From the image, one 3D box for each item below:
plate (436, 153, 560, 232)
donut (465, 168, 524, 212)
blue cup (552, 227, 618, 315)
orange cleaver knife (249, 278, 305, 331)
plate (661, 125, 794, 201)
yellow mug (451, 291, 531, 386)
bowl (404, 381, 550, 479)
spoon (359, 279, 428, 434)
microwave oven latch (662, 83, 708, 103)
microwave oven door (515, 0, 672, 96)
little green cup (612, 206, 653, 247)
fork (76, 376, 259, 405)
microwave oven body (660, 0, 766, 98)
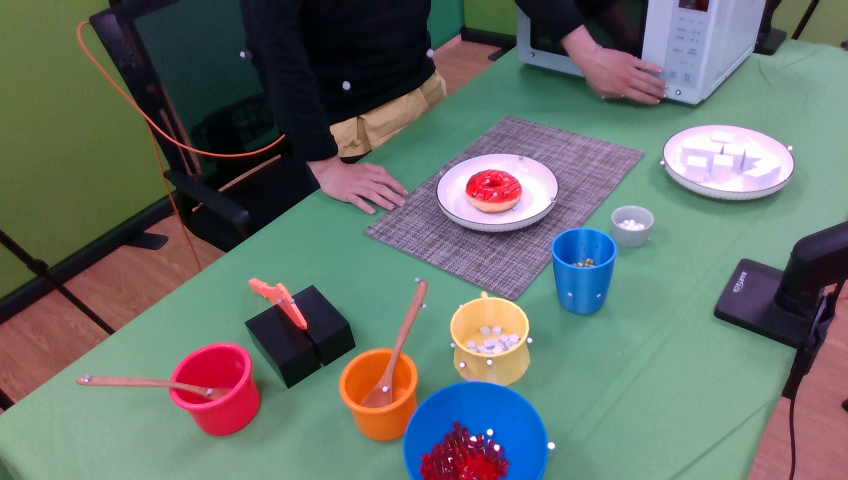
[{"bbox_3d":[0.125,-0.078,1.029,0.209,0.038,0.208,-4,40,4],"label":"plate"},{"bbox_3d":[0.119,-0.084,1.021,0.099,0.048,0.098,-3,39,3],"label":"donut"},{"bbox_3d":[0.218,0.047,0.825,0.092,0.100,0.092,-6,39,5],"label":"blue cup"},{"bbox_3d":[-0.210,0.089,0.856,0.012,0.077,0.210,-28,15,-25],"label":"orange cleaver knife"},{"bbox_3d":[0.513,-0.128,1.035,0.207,0.039,0.206,-4,40,4],"label":"plate"},{"bbox_3d":[0.085,0.120,0.786,0.100,0.064,0.130,-7,39,1],"label":"yellow mug"},{"bbox_3d":[0.058,0.235,0.645,0.151,0.077,0.150,-4,39,4],"label":"bowl"},{"bbox_3d":[-0.032,0.138,0.719,0.041,0.193,0.022,22,4,30],"label":"spoon"},{"bbox_3d":[0.517,-0.296,1.204,0.078,0.029,0.030,27,52,35],"label":"microwave oven latch"},{"bbox_3d":[0.343,-0.454,1.259,0.353,0.245,0.039,26,51,33],"label":"microwave oven door"},{"bbox_3d":[0.321,-0.019,0.936,0.061,0.039,0.061,-4,41,4],"label":"little green cup"},{"bbox_3d":[-0.295,0.176,0.716,0.209,0.018,0.028,19,27,-36],"label":"fork"},{"bbox_3d":[0.472,-0.513,1.317,0.438,0.261,0.327,26,51,34],"label":"microwave oven body"}]
